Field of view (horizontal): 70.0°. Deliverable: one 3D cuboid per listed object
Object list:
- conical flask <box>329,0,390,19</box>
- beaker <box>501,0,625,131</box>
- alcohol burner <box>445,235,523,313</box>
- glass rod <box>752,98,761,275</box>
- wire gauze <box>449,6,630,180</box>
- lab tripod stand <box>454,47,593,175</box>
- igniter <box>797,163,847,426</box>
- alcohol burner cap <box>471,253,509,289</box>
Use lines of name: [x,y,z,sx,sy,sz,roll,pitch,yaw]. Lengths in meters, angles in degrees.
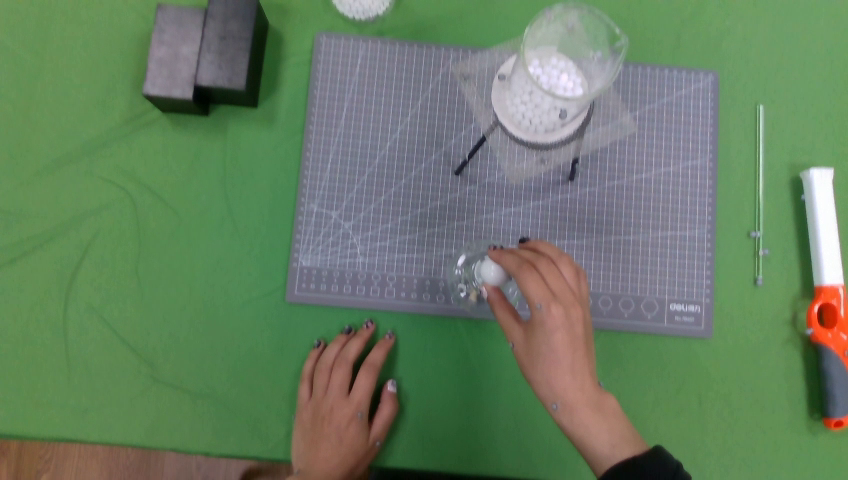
conical flask: [-0.070,-0.286,0.614,0.075,0.122,0.075,0,82,-2]
beaker: [0.104,-0.133,0.481,0.084,0.100,0.074,-16,85,-4]
alcohol burner: [0.061,0.031,0.585,0.078,0.119,0.077,1,82,-4]
glass rod: [0.365,-0.060,0.664,0.008,0.008,0.199,5,83,-2]
wire gauze: [0.102,-0.128,0.529,0.125,0.011,0.121,-24,88,-6]
lab tripod stand: [0.099,-0.116,0.593,0.148,0.131,0.148,0,85,-2]
igniter: [0.427,0.055,0.643,0.057,0.025,0.275,0,83,-13]
alcohol burner cap: [0.062,0.026,0.549,0.034,0.048,0.034,0,83,-3]
